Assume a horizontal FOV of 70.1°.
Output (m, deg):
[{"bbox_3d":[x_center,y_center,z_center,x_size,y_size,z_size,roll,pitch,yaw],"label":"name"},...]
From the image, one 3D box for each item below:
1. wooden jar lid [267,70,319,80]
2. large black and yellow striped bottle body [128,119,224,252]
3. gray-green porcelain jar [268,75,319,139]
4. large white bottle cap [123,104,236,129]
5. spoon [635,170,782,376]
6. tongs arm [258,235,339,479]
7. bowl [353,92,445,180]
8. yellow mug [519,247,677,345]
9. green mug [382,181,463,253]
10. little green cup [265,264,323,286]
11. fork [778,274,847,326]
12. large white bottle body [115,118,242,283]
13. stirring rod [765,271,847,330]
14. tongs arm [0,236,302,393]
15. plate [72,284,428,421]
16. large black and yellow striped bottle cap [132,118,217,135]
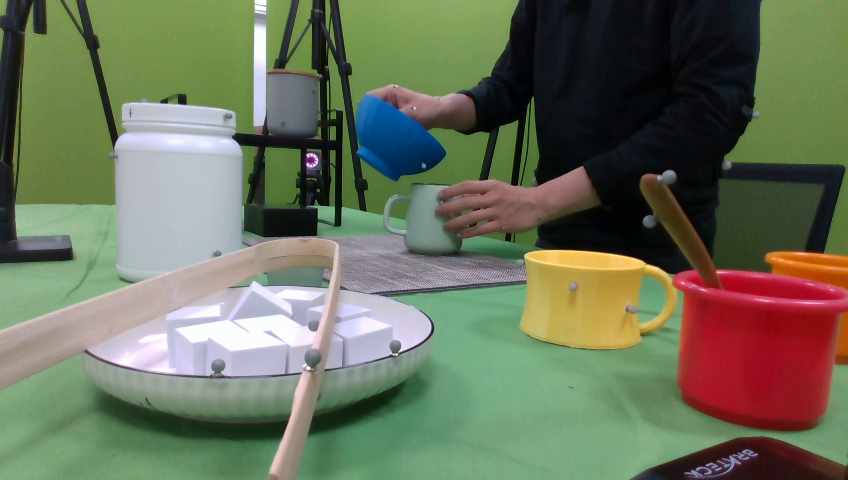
[{"bbox_3d":[-0.275,-0.339,1.271,0.108,0.020,0.108,5,6,0],"label":"wooden jar lid"},{"bbox_3d":[-0.361,-0.081,0.887,0.131,0.184,0.130,2,8,0],"label":"large black and yellow striped bottle body"},{"bbox_3d":[-0.277,-0.279,1.280,0.106,0.126,0.106,2,8,0],"label":"gray-green porcelain jar"},{"bbox_3d":[-0.266,-0.135,0.663,0.115,0.018,0.115,3,7,0],"label":"large white bottle cap"},{"bbox_3d":[0.161,0.026,0.346,0.041,0.194,0.021,9,55,53],"label":"spoon"},{"bbox_3d":[-0.074,0.040,0.345,0.051,0.026,0.384,-1,10,-3],"label":"tongs arm"},{"bbox_3d":[-0.051,-0.141,0.896,0.151,0.077,0.151,33,-2,2],"label":"bowl"},{"bbox_3d":[0.148,0.045,0.513,0.131,0.064,0.100,3,7,0],"label":"yellow mug"},{"bbox_3d":[-0.001,-0.036,0.922,0.126,0.105,0.092,0,8,-16],"label":"green mug"},{"bbox_3d":[-0.134,0.034,0.628,0.061,0.038,0.061,3,6,0],"label":"little green cup"},{"bbox_3d":[0.332,0.018,0.443,0.028,0.018,0.207,-3,-35,-16],"label":"fork"},{"bbox_3d":[-0.270,-0.051,0.673,0.131,0.184,0.130,2,8,0],"label":"large white bottle body"},{"bbox_3d":[0.352,0.020,0.481,0.176,0.006,0.014,-40,-8,17],"label":"stirring rod"},{"bbox_3d":[-0.157,0.038,0.347,0.028,0.028,0.388,-3,8,11],"label":"tongs arm"},{"bbox_3d":[-0.102,0.067,0.381,0.208,0.039,0.207,3,7,0],"label":"plate"},{"bbox_3d":[-0.359,-0.164,0.875,0.115,0.019,0.115,2,6,0],"label":"large black and yellow striped bottle cap"}]
